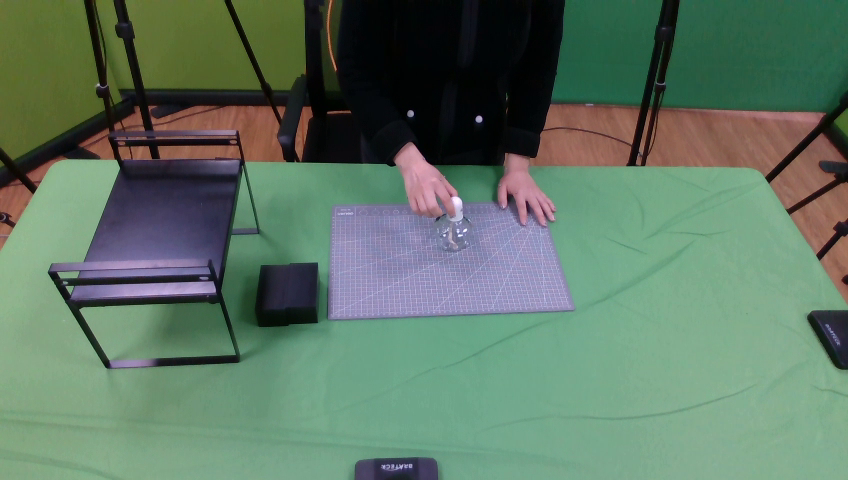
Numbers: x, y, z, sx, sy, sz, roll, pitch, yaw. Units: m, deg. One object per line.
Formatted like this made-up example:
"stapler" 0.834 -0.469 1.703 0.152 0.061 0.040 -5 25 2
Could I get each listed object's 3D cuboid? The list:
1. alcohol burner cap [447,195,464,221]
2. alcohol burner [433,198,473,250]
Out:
"alcohol burner cap" 0.059 -0.062 1.142 0.034 0.048 0.033 -1 43 1
"alcohol burner" 0.058 -0.038 1.169 0.078 0.119 0.077 3 45 -3
